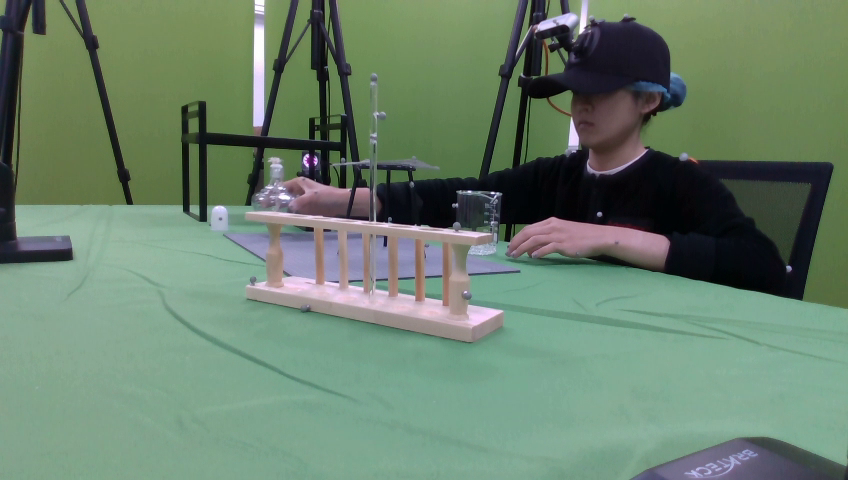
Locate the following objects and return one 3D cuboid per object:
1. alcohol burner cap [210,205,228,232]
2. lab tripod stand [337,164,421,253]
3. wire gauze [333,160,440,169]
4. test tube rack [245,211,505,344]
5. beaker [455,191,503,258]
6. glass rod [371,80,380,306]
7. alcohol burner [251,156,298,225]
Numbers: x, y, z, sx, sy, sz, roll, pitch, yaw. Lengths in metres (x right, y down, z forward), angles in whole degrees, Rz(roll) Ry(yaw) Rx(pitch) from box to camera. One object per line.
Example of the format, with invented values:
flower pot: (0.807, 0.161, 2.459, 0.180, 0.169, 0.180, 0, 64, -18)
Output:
alcohol burner cap: (-0.376, -0.040, 1.107, 0.034, 0.048, 0.034, 2, 7, 0)
lab tripod stand: (-0.060, -0.046, 0.895, 0.148, 0.131, 0.148, 1, 6, 0)
wire gauze: (-0.052, -0.111, 0.884, 0.121, 0.011, 0.125, 4, 7, 19)
test tube rack: (-0.049, 0.025, 0.547, 0.241, 0.085, 0.067, 7, 8, 29)
beaker: (0.087, -0.025, 0.955, 0.074, 0.100, 0.083, -1, 8, -26)
glass rod: (-0.042, -0.039, 0.530, 0.008, 0.199, 0.008, 0, 2, 0)
alcohol burner: (-0.251, -0.084, 1.025, 0.078, 0.119, 0.078, 6, 4, 0)
